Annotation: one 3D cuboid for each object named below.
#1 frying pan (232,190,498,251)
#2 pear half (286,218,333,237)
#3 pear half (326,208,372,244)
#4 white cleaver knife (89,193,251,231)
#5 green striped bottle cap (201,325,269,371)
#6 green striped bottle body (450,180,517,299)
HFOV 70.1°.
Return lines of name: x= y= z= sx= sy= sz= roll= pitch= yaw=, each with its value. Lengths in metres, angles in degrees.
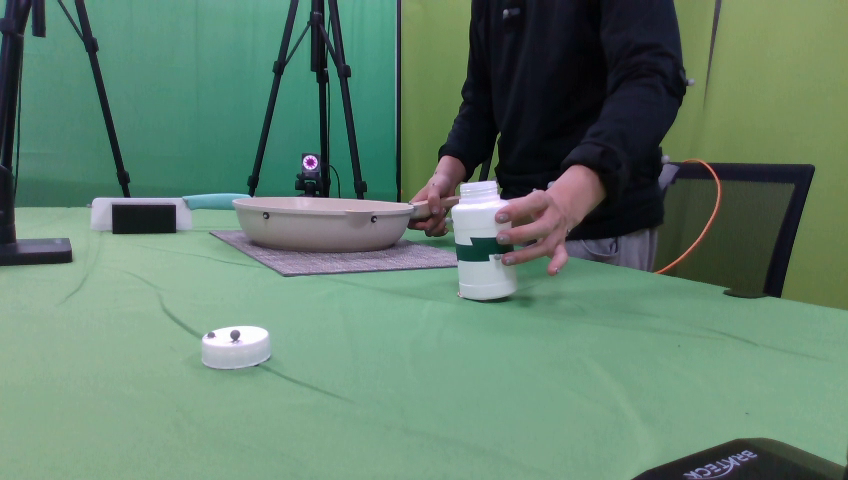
frying pan: x=-0.073 y=-0.051 z=1.047 sx=0.490 sy=0.102 sz=0.305 roll=-11 pitch=13 yaw=-27
pear half: x=-0.197 y=-0.022 z=1.054 sx=0.088 sy=0.031 sz=0.070 roll=-9 pitch=18 yaw=-44
pear half: x=-0.128 y=-0.026 z=1.017 sx=0.076 sy=0.056 sz=0.109 roll=5 pitch=4 yaw=-19
white cleaver knife: x=-0.454 y=-0.052 z=1.114 sx=0.288 sy=0.066 sz=0.021 roll=-4 pitch=14 yaw=-27
green striped bottle cap: x=-0.129 y=0.073 z=0.415 sx=0.044 sy=0.020 sz=0.044 roll=2 pitch=8 yaw=0
green striped bottle body: x=0.062 y=-0.003 z=0.639 sx=0.063 sy=0.119 sz=0.063 roll=-6 pitch=9 yaw=1
